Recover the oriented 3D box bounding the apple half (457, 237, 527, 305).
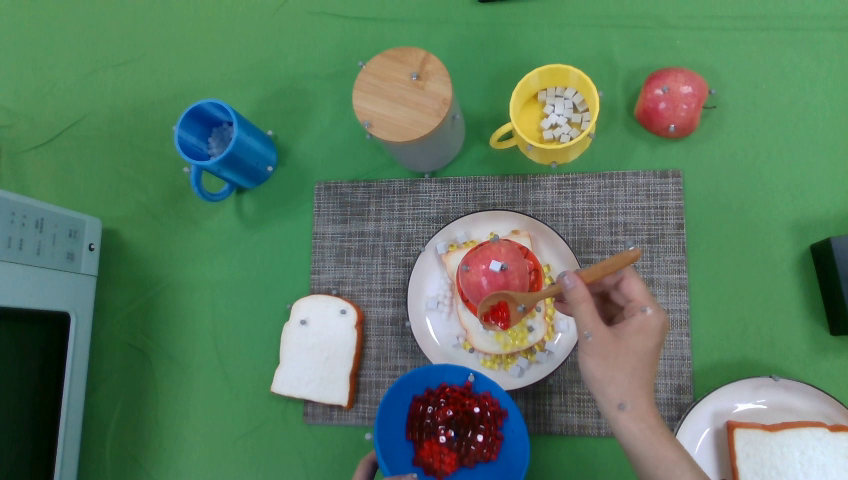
[{"bbox_3d":[0.071,0.035,0.640,0.081,0.033,0.081,-4,78,18],"label":"apple half"}]

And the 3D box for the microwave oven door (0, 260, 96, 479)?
[{"bbox_3d":[-0.478,0.198,0.668,0.039,0.245,0.354,-1,81,12],"label":"microwave oven door"}]

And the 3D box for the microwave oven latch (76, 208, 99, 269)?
[{"bbox_3d":[-0.452,-0.002,0.798,0.030,0.029,0.079,3,83,11],"label":"microwave oven latch"}]

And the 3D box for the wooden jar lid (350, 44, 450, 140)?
[{"bbox_3d":[-0.025,-0.156,0.647,0.108,0.021,0.108,-2,79,9],"label":"wooden jar lid"}]

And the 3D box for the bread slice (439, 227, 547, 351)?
[{"bbox_3d":[0.086,0.060,0.701,0.107,0.018,0.133,-18,78,8],"label":"bread slice"}]

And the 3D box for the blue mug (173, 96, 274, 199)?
[{"bbox_3d":[-0.254,-0.106,0.761,0.082,0.106,0.116,21,86,14],"label":"blue mug"}]

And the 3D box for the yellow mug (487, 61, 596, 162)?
[{"bbox_3d":[0.134,-0.142,0.711,0.131,0.064,0.099,-23,77,8],"label":"yellow mug"}]

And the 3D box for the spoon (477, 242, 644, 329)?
[{"bbox_3d":[0.117,0.043,0.551,0.193,0.022,0.041,-32,84,49],"label":"spoon"}]

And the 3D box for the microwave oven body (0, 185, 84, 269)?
[{"bbox_3d":[-0.620,0.159,0.707,0.325,0.261,0.440,-1,82,11],"label":"microwave oven body"}]

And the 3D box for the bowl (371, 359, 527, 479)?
[{"bbox_3d":[0.018,0.202,0.595,0.152,0.077,0.150,8,47,-8],"label":"bowl"}]

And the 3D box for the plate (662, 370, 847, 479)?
[{"bbox_3d":[0.353,0.239,0.623,0.209,0.038,0.208,-2,81,12],"label":"plate"}]

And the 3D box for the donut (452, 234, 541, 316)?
[{"bbox_3d":[0.080,0.041,0.675,0.099,0.048,0.098,-2,82,12],"label":"donut"}]

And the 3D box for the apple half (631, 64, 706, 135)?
[{"bbox_3d":[0.281,-0.167,0.693,0.074,0.053,0.080,22,86,16],"label":"apple half"}]

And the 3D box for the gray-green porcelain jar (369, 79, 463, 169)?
[{"bbox_3d":[-0.011,-0.146,0.709,0.105,0.127,0.105,-2,80,11],"label":"gray-green porcelain jar"}]

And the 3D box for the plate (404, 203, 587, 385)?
[{"bbox_3d":[0.081,0.062,0.701,0.207,0.039,0.207,-2,81,11],"label":"plate"}]

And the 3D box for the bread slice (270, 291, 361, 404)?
[{"bbox_3d":[-0.132,0.128,0.743,0.104,0.019,0.131,7,84,11],"label":"bread slice"}]
